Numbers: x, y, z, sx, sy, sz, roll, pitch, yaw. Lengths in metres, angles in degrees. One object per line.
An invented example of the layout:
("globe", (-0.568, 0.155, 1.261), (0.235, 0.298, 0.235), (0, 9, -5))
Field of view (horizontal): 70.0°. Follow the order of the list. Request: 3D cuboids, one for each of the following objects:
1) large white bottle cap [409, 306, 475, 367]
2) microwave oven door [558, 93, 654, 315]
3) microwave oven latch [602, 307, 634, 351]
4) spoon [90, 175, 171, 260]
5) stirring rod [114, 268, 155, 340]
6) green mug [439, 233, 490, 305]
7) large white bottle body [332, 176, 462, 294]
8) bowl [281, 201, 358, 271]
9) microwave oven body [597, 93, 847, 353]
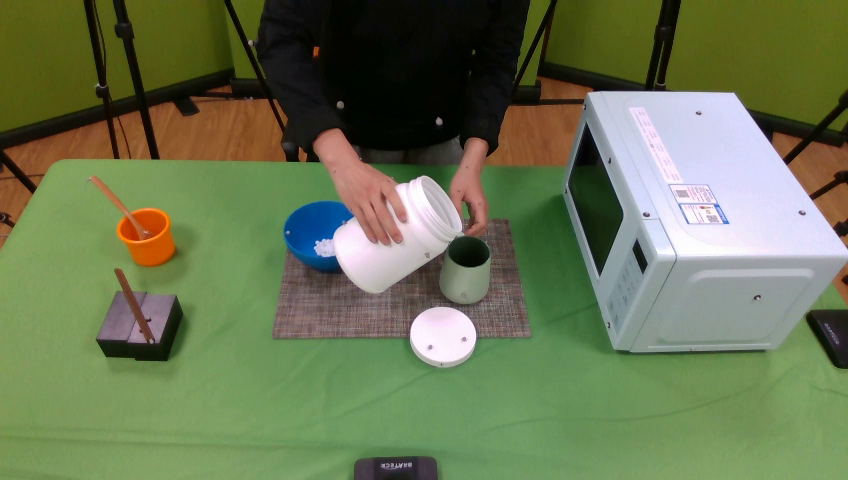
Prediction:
("large white bottle cap", (0.031, 0.164, 1.040), (0.115, 0.018, 0.114), (3, 50, -3))
("microwave oven door", (0.327, -0.074, 1.123), (0.039, 0.245, 0.353), (-1, 46, -5))
("microwave oven latch", (0.332, 0.153, 1.043), (0.030, 0.029, 0.078), (0, 45, -4))
("spoon", (-0.539, -0.042, 1.111), (0.041, 0.194, 0.021), (-45, 19, -32))
("stirring rod", (-0.479, 0.103, 0.999), (0.014, 0.006, 0.175), (7, 32, -49))
("green mug", (0.072, 0.045, 1.102), (0.092, 0.105, 0.124), (-6, 46, -9))
("large white bottle body", (-0.042, -0.010, 0.986), (0.184, 0.131, 0.129), (-34, 44, 19))
("bowl", (-0.187, 0.005, 1.138), (0.151, 0.077, 0.150), (3, 46, -3))
("microwave oven body", (0.475, -0.041, 1.109), (0.326, 0.261, 0.438), (-1, 45, -4))
